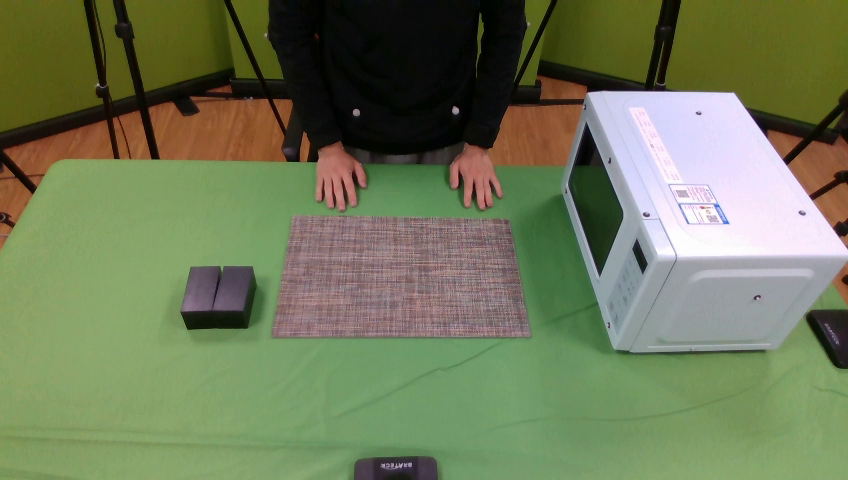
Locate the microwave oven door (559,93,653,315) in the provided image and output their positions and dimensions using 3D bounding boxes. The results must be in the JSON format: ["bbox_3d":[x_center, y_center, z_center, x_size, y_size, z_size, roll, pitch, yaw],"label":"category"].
[{"bbox_3d":[0.327,-0.074,1.123,0.039,0.245,0.353,-1,46,-5],"label":"microwave oven door"}]

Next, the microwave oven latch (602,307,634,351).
[{"bbox_3d":[0.332,0.153,1.043,0.030,0.029,0.078,0,45,-4],"label":"microwave oven latch"}]

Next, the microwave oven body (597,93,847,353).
[{"bbox_3d":[0.475,-0.041,1.109,0.326,0.261,0.438,-1,45,-4],"label":"microwave oven body"}]
